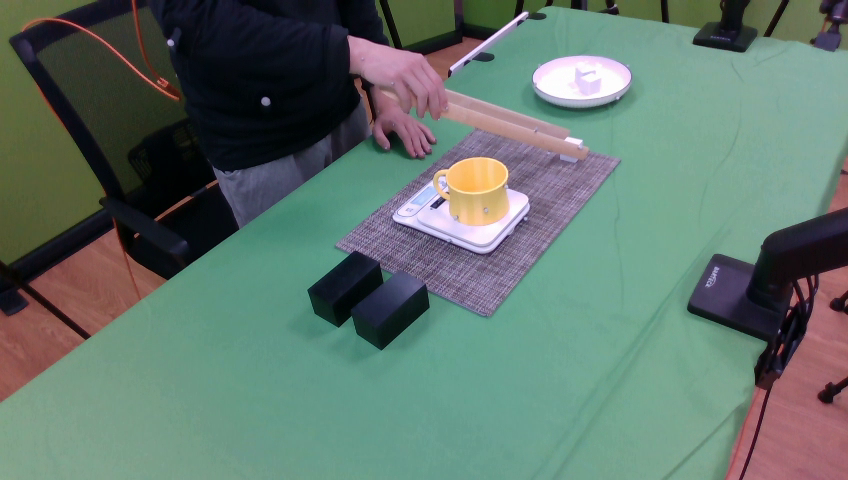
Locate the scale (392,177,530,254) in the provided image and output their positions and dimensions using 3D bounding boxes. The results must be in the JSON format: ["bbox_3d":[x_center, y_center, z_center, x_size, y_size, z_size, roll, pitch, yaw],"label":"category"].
[{"bbox_3d":[0.060,-0.050,1.006,0.199,0.032,0.149,22,48,30],"label":"scale"}]

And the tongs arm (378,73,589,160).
[{"bbox_3d":[0.109,-0.199,1.004,0.388,0.026,0.050,11,34,-25],"label":"tongs arm"}]

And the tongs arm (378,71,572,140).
[{"bbox_3d":[0.100,-0.225,1.038,0.391,0.028,0.028,10,38,-27],"label":"tongs arm"}]

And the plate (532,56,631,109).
[{"bbox_3d":[0.336,-0.335,1.301,0.207,0.039,0.206,-4,41,4],"label":"plate"}]

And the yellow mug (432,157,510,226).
[{"bbox_3d":[0.072,-0.082,0.968,0.130,0.064,0.100,13,45,24],"label":"yellow mug"}]
